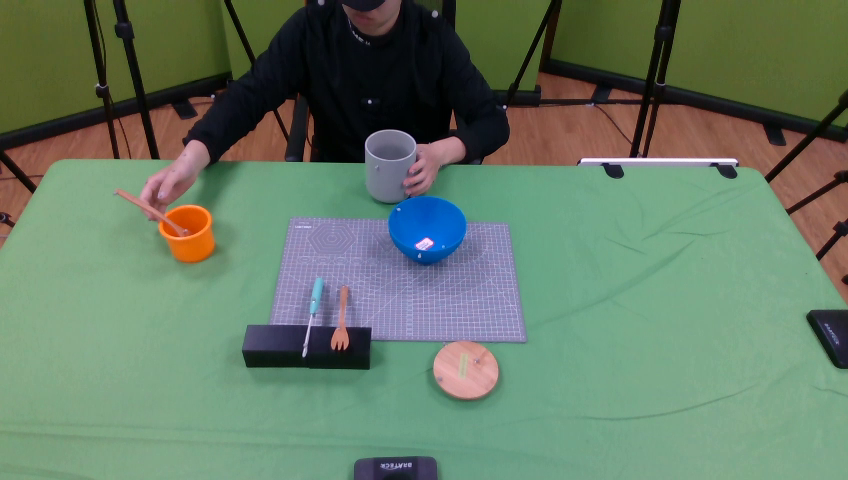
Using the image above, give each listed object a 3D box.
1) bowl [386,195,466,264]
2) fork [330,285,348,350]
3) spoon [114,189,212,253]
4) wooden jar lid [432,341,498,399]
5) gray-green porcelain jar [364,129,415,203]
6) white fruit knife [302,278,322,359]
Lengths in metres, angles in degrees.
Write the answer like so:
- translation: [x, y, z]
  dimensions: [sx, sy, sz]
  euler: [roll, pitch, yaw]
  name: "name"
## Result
- translation: [0.002, -0.007, 1.162]
  dimensions: [0.151, 0.077, 0.150]
  euler: [2, 46, -2]
  name: "bowl"
- translation: [-0.140, 0.127, 1.021]
  dimensions: [0.028, 0.019, 0.206]
  euler: [-5, 28, -2]
  name: "fork"
- translation: [-0.475, -0.037, 1.109]
  dimensions: [0.021, 0.195, 0.041]
  euler: [-29, 33, 31]
  name: "spoon"
- translation: [0.067, 0.216, 0.997]
  dimensions: [0.108, 0.021, 0.107]
  euler: [1, 46, -1]
  name: "wooden jar lid"
- translation: [-0.073, -0.149, 1.264]
  dimensions: [0.106, 0.127, 0.105]
  euler: [2, 46, -2]
  name: "gray-green porcelain jar"
- translation: [-0.189, 0.126, 1.020]
  dimensions: [0.016, 0.027, 0.206]
  euler: [0, 33, -3]
  name: "white fruit knife"
